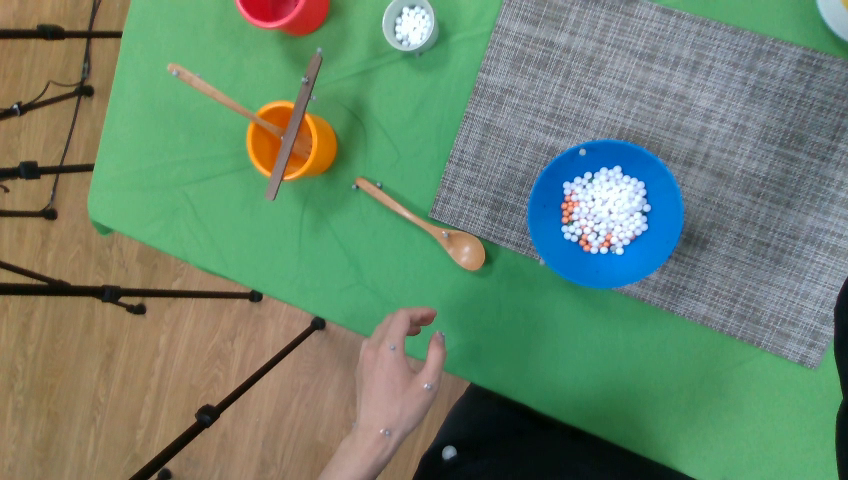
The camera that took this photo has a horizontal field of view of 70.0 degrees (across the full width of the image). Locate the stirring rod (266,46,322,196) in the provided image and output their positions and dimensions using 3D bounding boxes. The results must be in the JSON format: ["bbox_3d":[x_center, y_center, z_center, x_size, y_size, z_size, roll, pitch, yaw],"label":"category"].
[{"bbox_3d":[-0.148,-0.133,0.687,0.014,0.006,0.176,23,102,14],"label":"stirring rod"}]

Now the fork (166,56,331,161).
[{"bbox_3d":[-0.197,-0.150,0.701,0.209,0.018,0.028,29,110,-34],"label":"fork"}]

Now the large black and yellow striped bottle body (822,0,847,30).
[{"bbox_3d":[0.421,-0.251,0.488,0.130,0.184,0.131,1,93,15],"label":"large black and yellow striped bottle body"}]

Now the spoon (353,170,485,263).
[{"bbox_3d":[-0.009,-0.034,0.727,0.193,0.021,0.042,33,118,9],"label":"spoon"}]

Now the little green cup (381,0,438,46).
[{"bbox_3d":[-0.014,-0.254,0.694,0.061,0.038,0.061,2,97,17],"label":"little green cup"}]

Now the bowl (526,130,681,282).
[{"bbox_3d":[0.187,-0.036,0.639,0.151,0.077,0.151,2,97,16],"label":"bowl"}]
